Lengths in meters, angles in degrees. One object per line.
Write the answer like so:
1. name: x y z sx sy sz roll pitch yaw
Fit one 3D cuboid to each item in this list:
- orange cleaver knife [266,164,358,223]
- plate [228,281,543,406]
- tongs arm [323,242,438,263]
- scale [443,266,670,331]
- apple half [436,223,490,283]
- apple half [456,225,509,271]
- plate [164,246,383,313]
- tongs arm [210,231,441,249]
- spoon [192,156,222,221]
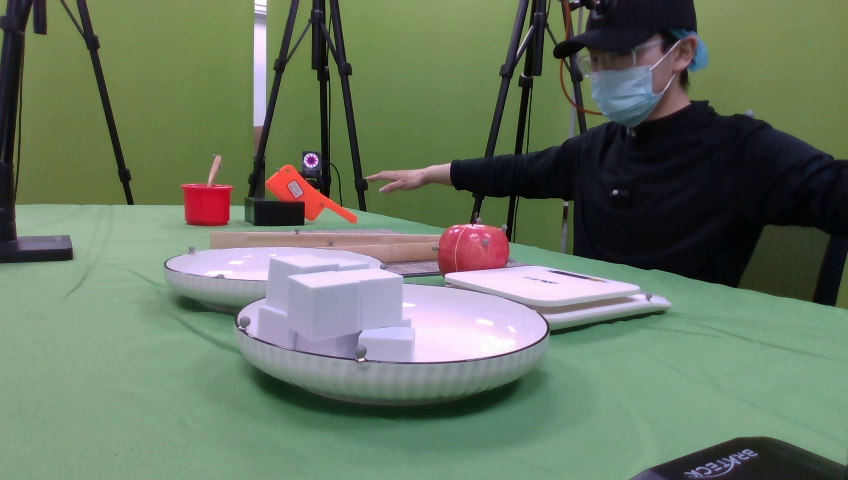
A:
1. orange cleaver knife: -0.237 -0.082 1.295 0.212 0.077 0.012 35 -8 -26
2. plate: -0.025 0.067 0.413 0.208 0.039 0.207 3 7 0
3. tongs arm: -0.070 0.017 0.800 0.390 0.028 0.028 -2 5 -34
4. scale: 0.131 0.052 0.602 0.202 0.031 0.148 -2 9 -37
5. apple half: 0.045 0.017 0.691 0.081 0.074 0.053 -9 10 -41
6. apple half: 0.071 0.021 0.662 0.082 0.081 0.032 -4 7 -42
7. plate: -0.145 0.038 0.600 0.209 0.038 0.209 2 7 0
8. tongs arm: -0.106 0.004 0.876 0.386 0.026 0.050 0 7 -20
9. spoon: -0.430 -0.108 1.222 0.041 0.021 0.193 -1 52 0
